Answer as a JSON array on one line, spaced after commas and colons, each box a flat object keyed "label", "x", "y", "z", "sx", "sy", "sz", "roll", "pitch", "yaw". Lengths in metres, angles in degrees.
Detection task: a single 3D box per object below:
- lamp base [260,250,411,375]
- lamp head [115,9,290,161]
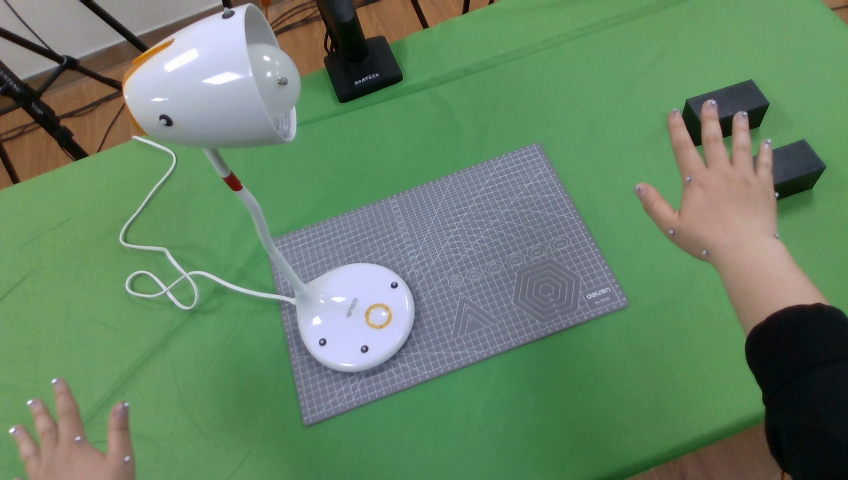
[{"label": "lamp base", "x": -0.123, "y": 0.069, "z": 0.766, "sx": 0.178, "sy": 0.182, "sz": 0.159, "roll": 2, "pitch": 61, "yaw": 15}, {"label": "lamp head", "x": -0.183, "y": -0.116, "z": 0.502, "sx": 0.123, "sy": 0.113, "sz": 0.111, "roll": -16, "pitch": 59, "yaw": 8}]
